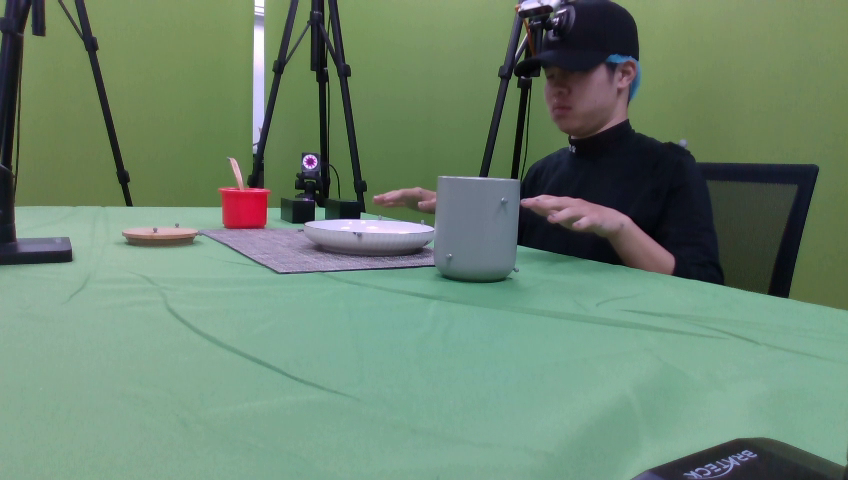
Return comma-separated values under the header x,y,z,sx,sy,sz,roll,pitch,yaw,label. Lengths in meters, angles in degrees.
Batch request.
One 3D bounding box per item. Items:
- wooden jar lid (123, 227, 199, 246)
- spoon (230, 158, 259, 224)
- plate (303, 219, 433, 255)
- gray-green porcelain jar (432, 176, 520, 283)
x,y,z,sx,sy,sz,roll,pitch,yaw,label
-0.408,-0.006,0.942,0.108,0.020,0.108,3,6,0,wooden jar lid
-0.366,-0.101,1.215,0.042,0.021,0.193,-1,52,-30,spoon
-0.084,-0.005,0.952,0.208,0.039,0.207,3,7,0,plate
0.064,-0.015,0.759,0.106,0.126,0.106,2,7,0,gray-green porcelain jar
